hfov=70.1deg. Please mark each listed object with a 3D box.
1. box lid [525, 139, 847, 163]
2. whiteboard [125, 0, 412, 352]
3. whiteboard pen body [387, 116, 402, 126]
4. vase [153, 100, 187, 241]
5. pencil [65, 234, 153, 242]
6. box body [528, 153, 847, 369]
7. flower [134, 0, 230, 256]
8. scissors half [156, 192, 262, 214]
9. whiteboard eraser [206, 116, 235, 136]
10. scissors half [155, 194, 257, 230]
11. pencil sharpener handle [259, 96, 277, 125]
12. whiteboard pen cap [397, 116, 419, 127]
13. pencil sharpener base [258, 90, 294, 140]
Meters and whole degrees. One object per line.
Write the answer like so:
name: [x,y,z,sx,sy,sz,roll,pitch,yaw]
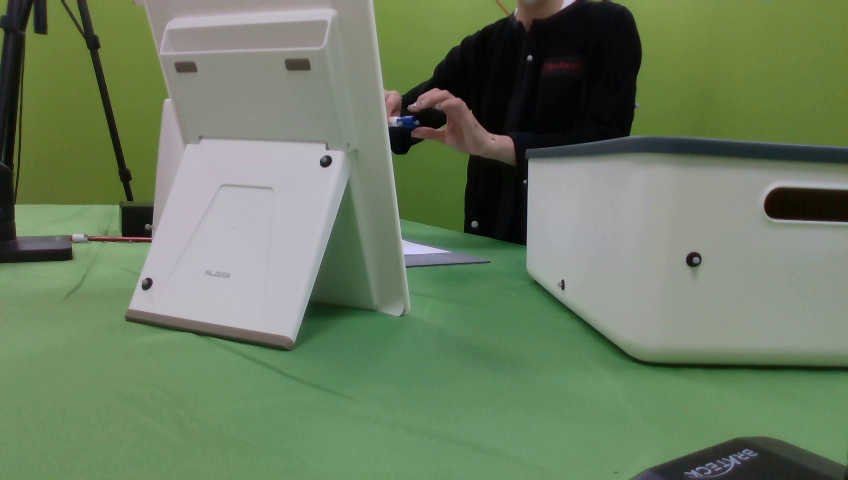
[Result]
box lid: [0.261,-0.078,0.580,0.264,0.015,0.371,2,7,-4]
whiteboard: [-0.151,-0.049,0.472,0.216,0.305,0.144,6,27,24]
whiteboard pen body: [-0.071,-0.190,0.967,0.140,0.017,0.017,8,9,39]
vase: [-0.278,-0.066,0.736,0.098,0.200,0.098,2,9,0]
pencil: [-0.429,-0.001,0.911,0.195,0.012,0.012,1,8,-19]
box body: [0.258,-0.005,0.591,0.254,0.160,0.363,2,7,-4]
flower: [-0.282,-0.146,0.713,0.038,0.362,0.044,-23,23,-31]
scissors half: [-0.371,-0.069,1.051,0.176,0.040,0.013,2,25,-24]
whiteboard eraser: [-0.449,-0.251,1.335,0.056,0.042,0.112,1,7,-23]
scissors half: [-0.378,-0.051,1.058,0.176,0.040,0.012,20,22,-31]
pencil sharpener handle: [-0.373,-0.304,1.425,0.036,0.067,0.030,13,-1,-37]
whiteboard pen cap: [-0.025,-0.182,0.931,0.033,0.018,0.018,5,8,38]
pencil sharpener base: [-0.341,-0.285,1.388,0.062,0.107,0.076,-3,9,-36]
